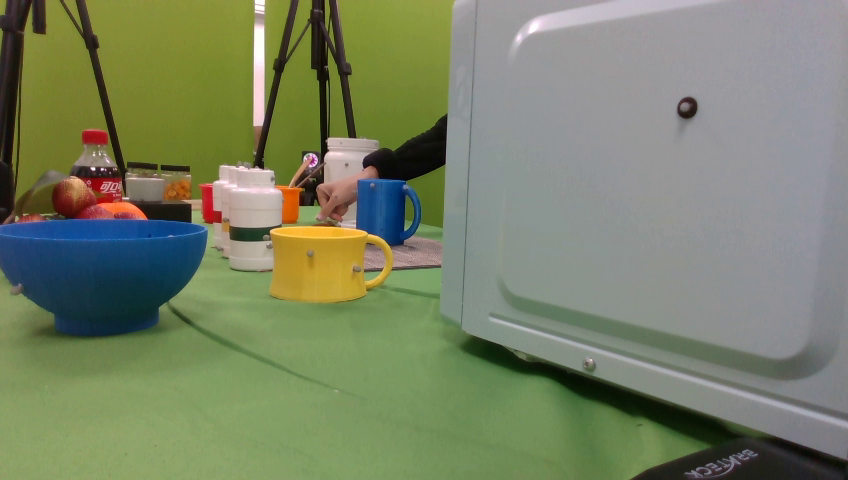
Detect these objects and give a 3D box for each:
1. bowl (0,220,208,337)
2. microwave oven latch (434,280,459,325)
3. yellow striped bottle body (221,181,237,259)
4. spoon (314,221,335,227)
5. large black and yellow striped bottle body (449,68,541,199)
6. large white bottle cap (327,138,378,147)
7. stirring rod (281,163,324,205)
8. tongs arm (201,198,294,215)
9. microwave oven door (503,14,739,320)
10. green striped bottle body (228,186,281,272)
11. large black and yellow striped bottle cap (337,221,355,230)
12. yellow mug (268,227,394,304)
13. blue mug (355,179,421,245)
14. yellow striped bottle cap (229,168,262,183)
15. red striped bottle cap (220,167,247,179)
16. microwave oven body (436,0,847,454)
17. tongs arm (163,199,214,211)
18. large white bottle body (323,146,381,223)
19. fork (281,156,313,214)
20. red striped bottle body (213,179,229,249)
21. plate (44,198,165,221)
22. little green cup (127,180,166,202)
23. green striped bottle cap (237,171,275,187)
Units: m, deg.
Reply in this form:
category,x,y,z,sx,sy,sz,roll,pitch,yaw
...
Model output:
category,x,y,z,sx,sy,sz,roll,pitch,yaw
bowl,-0.251,0.029,0.479,0.151,0.077,0.151,2,7,0
microwave oven latch,0.044,0.045,0.470,0.079,0.029,0.030,-2,8,-39
yellow striped bottle body,-0.244,-0.035,0.823,0.063,0.120,0.063,2,8,0
spoon,-0.185,-0.027,1.131,0.041,0.021,0.193,-29,7,3
large black and yellow striped bottle body,0.109,-0.157,0.918,0.131,0.184,0.131,4,3,0
large white bottle cap,-0.160,-0.218,1.357,0.115,0.018,0.115,2,8,0
stirring rod,-0.278,-0.105,1.293,0.176,0.006,0.014,-47,25,-18
tongs arm,-0.423,-0.084,1.472,0.050,0.026,0.386,2,6,22
microwave oven door,0.218,-0.065,0.600,0.358,0.243,0.039,-4,10,-41
green striped bottle body,-0.208,-0.023,0.745,0.063,0.119,0.063,2,7,0
large black and yellow striped bottle cap,-0.108,-0.022,1.149,0.115,0.019,0.115,1,8,0
yellow mug,-0.094,0.023,0.630,0.131,0.064,0.099,0,8,-22
blue mug,-0.058,-0.047,1.004,0.116,0.106,0.082,6,9,24
yellow striped bottle cap,-0.240,-0.087,0.816,0.044,0.018,0.044,-3,5,1
red striped bottle cap,-0.281,-0.100,0.901,0.044,0.017,0.044,-1,5,0
microwave oven body,0.279,-0.040,0.464,0.444,0.260,0.324,-3,9,-41
tongs arm,-0.503,-0.091,1.513,0.028,0.028,0.389,-1,4,38
large white bottle body,-0.163,-0.134,1.369,0.131,0.184,0.130,2,8,0
fork,-0.289,-0.116,1.320,0.028,0.019,0.207,-2,48,27
red striped bottle body,-0.284,-0.047,0.908,0.063,0.119,0.063,2,8,0
plate,-0.617,-0.057,1.179,0.209,0.038,0.209,3,7,0
little green cup,-0.486,-0.086,1.061,0.061,0.038,0.061,0,7,0
green striped bottle cap,-0.206,-0.074,0.738,0.044,0.020,0.044,1,9,0
